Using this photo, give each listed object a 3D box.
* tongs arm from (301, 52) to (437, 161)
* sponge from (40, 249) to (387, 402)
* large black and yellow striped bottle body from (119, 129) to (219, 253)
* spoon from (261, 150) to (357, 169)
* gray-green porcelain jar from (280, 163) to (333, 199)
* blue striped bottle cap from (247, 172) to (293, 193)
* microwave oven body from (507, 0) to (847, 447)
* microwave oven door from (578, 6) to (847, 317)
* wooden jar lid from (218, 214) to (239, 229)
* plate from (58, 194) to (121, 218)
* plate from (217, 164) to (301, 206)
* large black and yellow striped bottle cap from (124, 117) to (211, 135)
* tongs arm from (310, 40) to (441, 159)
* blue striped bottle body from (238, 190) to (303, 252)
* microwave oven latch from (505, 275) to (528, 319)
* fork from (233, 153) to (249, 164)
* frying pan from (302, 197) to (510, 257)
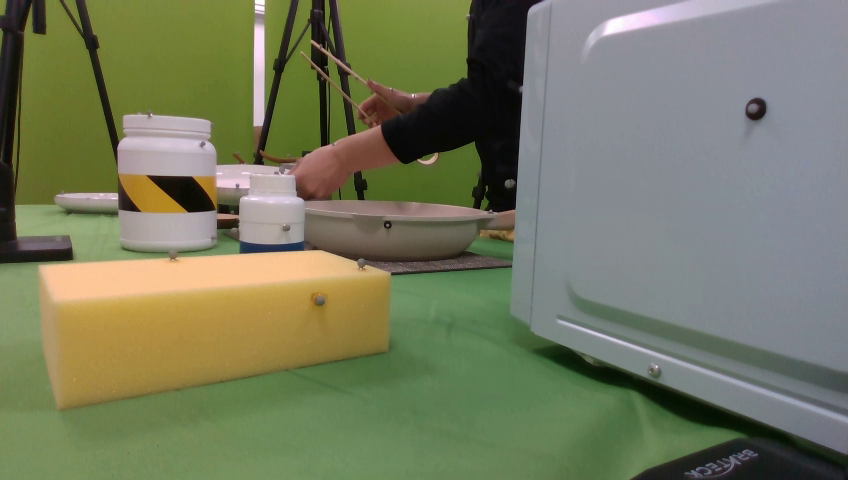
[{"bbox_3d":[-0.118,-0.291,1.361,0.389,0.028,0.027,37,5,-26],"label":"tongs arm"},{"bbox_3d":[-0.142,0.047,0.420,0.208,0.061,0.117,-3,8,-36],"label":"sponge"},{"bbox_3d":[-0.367,-0.080,0.876,0.131,0.184,0.130,1,7,0],"label":"large black and yellow striped bottle body"},{"bbox_3d":[-0.231,-0.162,1.221,0.194,0.021,0.041,3,3,-16],"label":"spoon"},{"bbox_3d":[-0.238,-0.091,1.220,0.106,0.126,0.106,2,7,0],"label":"gray-green porcelain jar"},{"bbox_3d":[-0.152,-0.057,0.598,0.044,0.020,0.044,3,7,0],"label":"blue striped bottle cap"},{"bbox_3d":[0.331,-0.042,0.425,0.444,0.260,0.324,-2,8,-31],"label":"microwave oven body"},{"bbox_3d":[0.294,-0.067,0.570,0.358,0.243,0.039,-3,9,-31],"label":"microwave oven door"},{"bbox_3d":[-0.404,-0.037,1.169,0.108,0.020,0.108,4,7,0],"label":"wooden jar lid"},{"bbox_3d":[-0.671,-0.074,1.310,0.209,0.038,0.209,2,8,0],"label":"plate"},{"bbox_3d":[-0.323,-0.097,1.072,0.208,0.039,0.207,3,18,-1],"label":"plate"},{"bbox_3d":[-0.366,-0.163,0.866,0.115,0.019,0.115,3,7,0],"label":"large black and yellow striped bottle cap"},{"bbox_3d":[-0.103,-0.308,1.358,0.386,0.050,0.026,32,11,-25],"label":"tongs arm"},{"bbox_3d":[-0.153,-0.007,0.606,0.063,0.120,0.063,2,7,0],"label":"blue striped bottle body"},{"bbox_3d":[0.100,0.041,0.471,0.079,0.029,0.030,-1,7,-28],"label":"microwave oven latch"},{"bbox_3d":[-0.396,-0.143,1.486,0.028,0.018,0.208,20,-26,45],"label":"fork"},{"bbox_3d":[0.051,-0.035,0.915,0.487,0.102,0.307,-5,7,11],"label":"frying pan"}]
